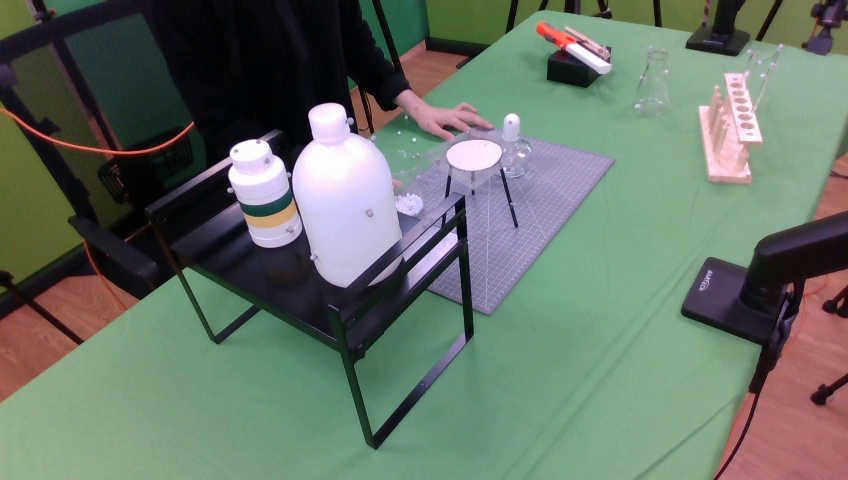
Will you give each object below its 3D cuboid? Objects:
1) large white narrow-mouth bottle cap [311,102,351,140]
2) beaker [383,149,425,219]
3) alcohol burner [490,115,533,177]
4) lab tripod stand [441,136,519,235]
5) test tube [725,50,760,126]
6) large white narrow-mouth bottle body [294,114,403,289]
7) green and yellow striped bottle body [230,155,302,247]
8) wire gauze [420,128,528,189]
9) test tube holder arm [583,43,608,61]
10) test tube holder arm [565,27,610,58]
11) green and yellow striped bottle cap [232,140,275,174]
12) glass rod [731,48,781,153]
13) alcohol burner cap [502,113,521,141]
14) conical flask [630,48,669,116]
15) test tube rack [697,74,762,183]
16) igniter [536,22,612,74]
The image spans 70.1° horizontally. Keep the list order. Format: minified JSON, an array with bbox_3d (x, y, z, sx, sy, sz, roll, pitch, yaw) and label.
[{"bbox_3d":[-0.089,-0.114,0.579,0.038,0.024,0.037,-4,40,3],"label":"large white narrow-mouth bottle cap"},{"bbox_3d":[-0.037,-0.095,1.029,0.074,0.100,0.084,4,41,13],"label":"beaker"},{"bbox_3d":[0.157,-0.173,1.083,0.078,0.119,0.077,-4,43,4],"label":"alcohol burner"},{"bbox_3d":[0.083,-0.086,0.976,0.148,0.132,0.147,-4,42,4],"label":"lab tripod stand"},{"bbox_3d":[0.570,-0.269,1.086,0.017,0.151,0.017,-1,45,2],"label":"test tube"},{"bbox_3d":[-0.082,-0.047,0.634,0.102,0.195,0.101,-4,40,4],"label":"large white narrow-mouth bottle body"},{"bbox_3d":[-0.188,-0.055,0.714,0.063,0.120,0.063,-4,41,4],"label":"green and yellow striped bottle body"},{"bbox_3d":[0.076,-0.132,0.926,0.122,0.011,0.124,-34,47,-26],"label":"wire gauze"},{"bbox_3d":[0.379,-0.420,1.341,0.010,0.015,0.087,-39,41,10],"label":"test tube holder arm"},{"bbox_3d":[0.369,-0.450,1.373,0.013,0.015,0.177,-39,41,10],"label":"test tube holder arm"},{"bbox_3d":[-0.192,-0.094,0.680,0.045,0.020,0.045,-5,39,5],"label":"green and yellow striped bottle cap"},{"bbox_3d":[0.554,-0.228,1.014,0.008,0.200,0.008,1,44,-1],"label":"glass rod"},{"bbox_3d":[0.155,-0.200,1.058,0.034,0.048,0.033,-1,50,2],"label":"alcohol burner cap"},{"bbox_3d":[0.456,-0.317,1.205,0.075,0.122,0.075,-4,41,4],"label":"conical flask"},{"bbox_3d":[0.547,-0.208,1.094,0.066,0.085,0.242,5,42,15],"label":"test tube rack"},{"bbox_3d":[0.330,-0.439,1.366,0.057,0.025,0.274,-12,41,-20],"label":"igniter"}]
